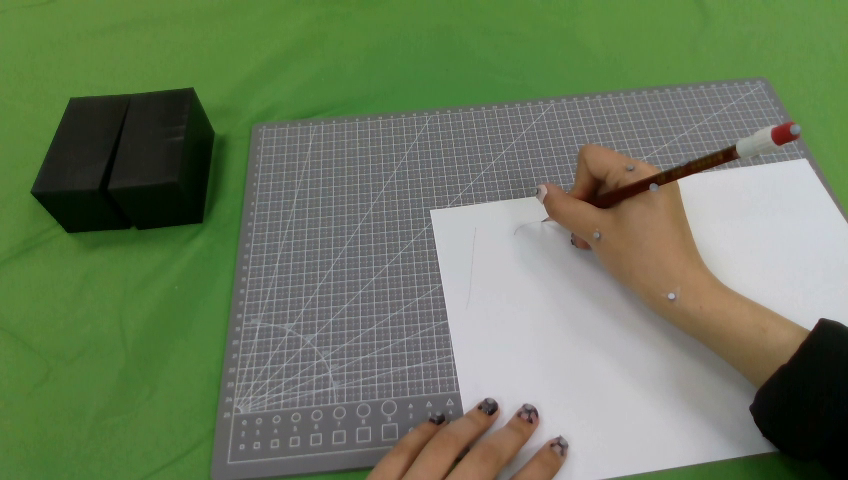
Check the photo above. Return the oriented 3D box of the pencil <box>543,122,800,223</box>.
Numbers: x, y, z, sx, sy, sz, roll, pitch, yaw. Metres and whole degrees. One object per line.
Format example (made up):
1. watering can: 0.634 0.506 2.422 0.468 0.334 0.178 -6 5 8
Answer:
1. pencil: 0.132 -0.032 0.368 0.012 0.193 0.012 6 76 -26
